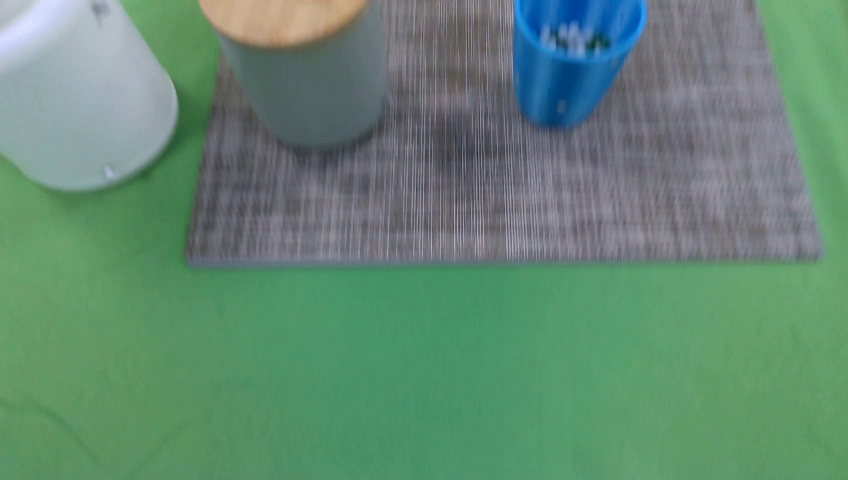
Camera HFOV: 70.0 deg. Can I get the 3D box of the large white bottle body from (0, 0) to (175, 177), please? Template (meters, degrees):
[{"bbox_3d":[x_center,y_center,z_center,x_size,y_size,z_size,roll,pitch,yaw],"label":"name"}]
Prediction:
[{"bbox_3d":[-0.260,-0.137,0.390,0.130,0.186,0.129,0,69,1],"label":"large white bottle body"}]

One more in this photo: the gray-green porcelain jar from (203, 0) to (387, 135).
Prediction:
[{"bbox_3d":[-0.081,-0.142,0.416,0.106,0.127,0.105,-1,69,2],"label":"gray-green porcelain jar"}]

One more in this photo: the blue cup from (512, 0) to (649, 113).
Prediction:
[{"bbox_3d":[0.100,-0.142,0.424,0.092,0.101,0.092,-1,69,2],"label":"blue cup"}]

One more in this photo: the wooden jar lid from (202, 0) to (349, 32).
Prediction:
[{"bbox_3d":[-0.082,-0.165,0.357,0.108,0.021,0.107,-1,70,4],"label":"wooden jar lid"}]
